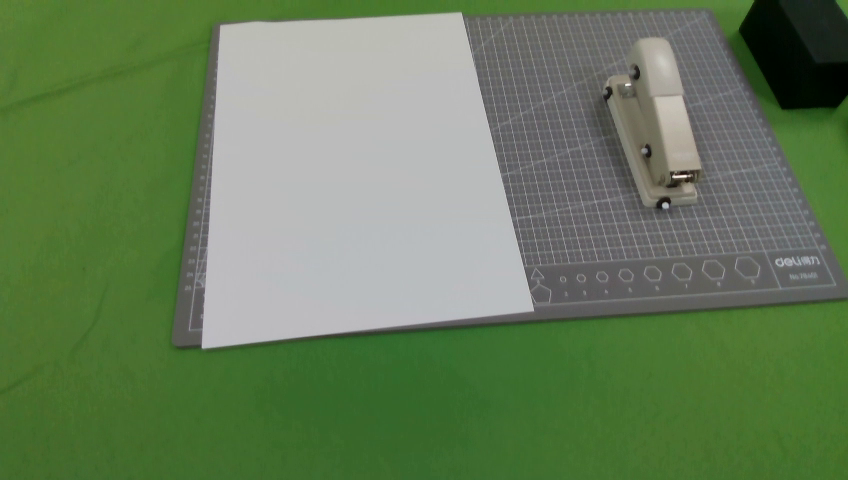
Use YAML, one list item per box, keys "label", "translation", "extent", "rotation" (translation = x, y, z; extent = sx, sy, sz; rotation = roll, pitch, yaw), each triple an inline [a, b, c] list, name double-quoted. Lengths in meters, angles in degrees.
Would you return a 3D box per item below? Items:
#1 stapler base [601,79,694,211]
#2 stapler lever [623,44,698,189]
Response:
- label: "stapler base"
  translation: [0.173, -0.082, 0.468]
  extent: [0.041, 0.024, 0.129]
  rotation: [-6, 60, -3]
- label: "stapler lever"
  translation: [0.174, -0.094, 0.445]
  extent: [0.027, 0.040, 0.117]
  rotation: [-6, 60, -3]
